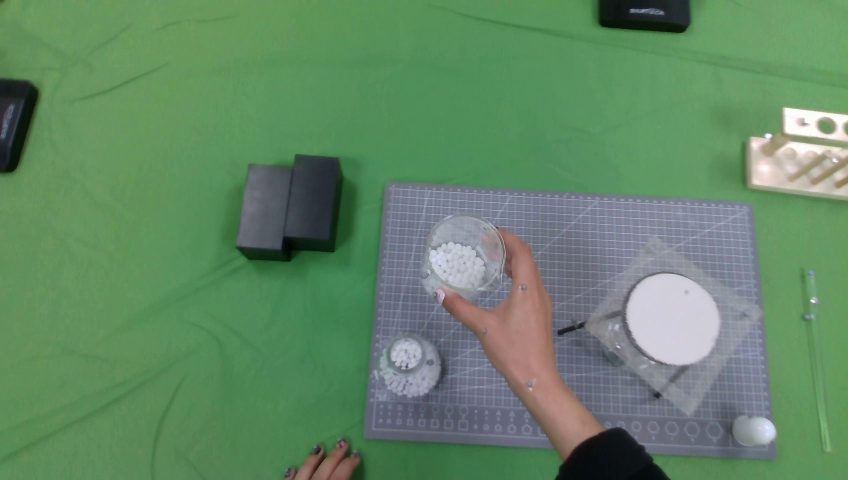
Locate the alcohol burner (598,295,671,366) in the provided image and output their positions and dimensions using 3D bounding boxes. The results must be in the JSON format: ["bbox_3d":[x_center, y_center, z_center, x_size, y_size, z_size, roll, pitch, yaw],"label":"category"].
[{"bbox_3d":[0.227,0.093,0.638,0.078,0.120,0.077,0,74,1],"label":"alcohol burner"}]

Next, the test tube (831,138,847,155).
[{"bbox_3d":[0.506,-0.131,0.677,0.017,0.151,0.017,0,73,2],"label":"test tube"}]

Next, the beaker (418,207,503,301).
[{"bbox_3d":[0.033,0.020,0.592,0.074,0.100,0.084,-43,83,-14],"label":"beaker"}]

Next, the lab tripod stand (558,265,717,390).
[{"bbox_3d":[0.226,0.087,0.629,0.148,0.132,0.147,0,75,0],"label":"lab tripod stand"}]

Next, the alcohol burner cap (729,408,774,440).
[{"bbox_3d":[0.353,0.196,0.648,0.034,0.048,0.033,1,73,-1],"label":"alcohol burner cap"}]

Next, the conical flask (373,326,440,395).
[{"bbox_3d":[-0.018,0.118,0.620,0.075,0.122,0.075,0,73,-1],"label":"conical flask"}]

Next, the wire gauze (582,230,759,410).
[{"bbox_3d":[0.229,0.070,0.564,0.124,0.011,0.121,39,78,10],"label":"wire gauze"}]

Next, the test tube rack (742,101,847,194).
[{"bbox_3d":[0.520,-0.101,0.720,0.242,0.085,0.066,7,73,1],"label":"test tube rack"}]

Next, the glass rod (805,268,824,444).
[{"bbox_3d":[0.446,0.129,0.691,0.008,0.008,0.198,5,76,0],"label":"glass rod"}]
